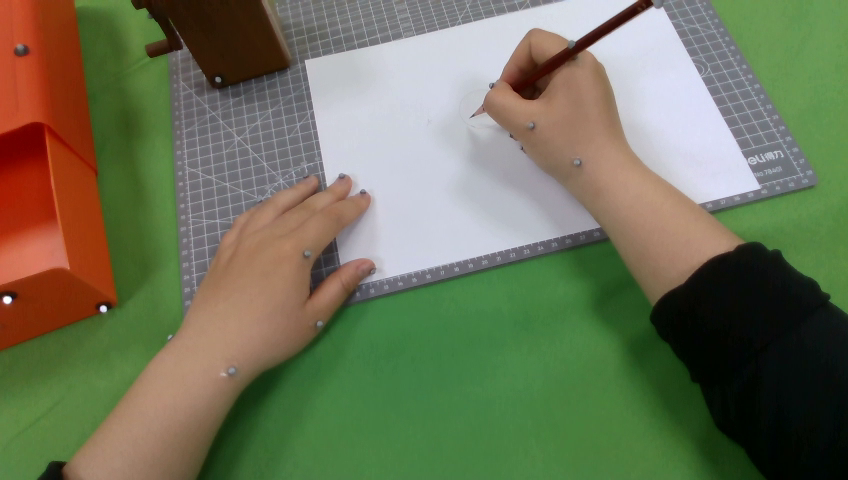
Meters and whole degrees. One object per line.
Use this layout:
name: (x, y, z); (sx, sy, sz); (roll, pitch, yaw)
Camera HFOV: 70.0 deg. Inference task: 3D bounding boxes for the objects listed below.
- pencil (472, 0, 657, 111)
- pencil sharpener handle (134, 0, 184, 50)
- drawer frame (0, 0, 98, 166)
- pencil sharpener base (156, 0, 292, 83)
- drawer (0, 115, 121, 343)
pencil: (0.088, -0.119, 0.380); (0.012, 0.193, 0.012); (9, 73, -31)
pencil sharpener handle: (-0.206, -0.171, 0.453); (0.030, 0.068, 0.035); (-19, 62, -3)
drawer frame: (-0.381, -0.121, 0.476); (0.202, 0.083, 0.211); (-21, 64, -4)
pencil sharpener base: (-0.157, -0.184, 0.467); (0.077, 0.108, 0.061); (-19, 65, -3)
drawer: (-0.339, -0.023, 0.429); (0.194, 0.074, 0.210); (-22, 65, -4)
